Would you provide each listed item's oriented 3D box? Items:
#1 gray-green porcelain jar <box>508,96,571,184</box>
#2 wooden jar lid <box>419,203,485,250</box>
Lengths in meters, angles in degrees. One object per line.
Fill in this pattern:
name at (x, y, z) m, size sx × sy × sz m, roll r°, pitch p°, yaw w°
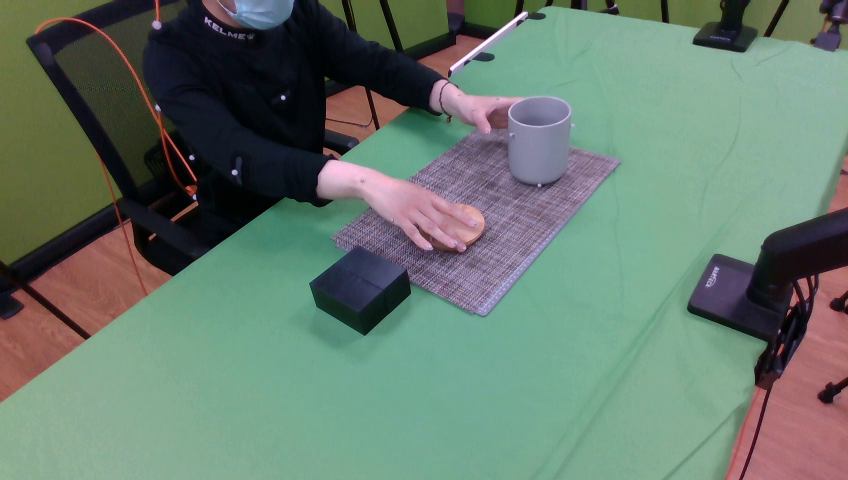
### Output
gray-green porcelain jar at (0.199, -0.169, 1.051) m, size 0.106 × 0.127 × 0.105 m, roll -4°, pitch 41°, yaw 4°
wooden jar lid at (0.046, -0.021, 0.983) m, size 0.108 × 0.021 × 0.108 m, roll -5°, pitch 42°, yaw 5°
